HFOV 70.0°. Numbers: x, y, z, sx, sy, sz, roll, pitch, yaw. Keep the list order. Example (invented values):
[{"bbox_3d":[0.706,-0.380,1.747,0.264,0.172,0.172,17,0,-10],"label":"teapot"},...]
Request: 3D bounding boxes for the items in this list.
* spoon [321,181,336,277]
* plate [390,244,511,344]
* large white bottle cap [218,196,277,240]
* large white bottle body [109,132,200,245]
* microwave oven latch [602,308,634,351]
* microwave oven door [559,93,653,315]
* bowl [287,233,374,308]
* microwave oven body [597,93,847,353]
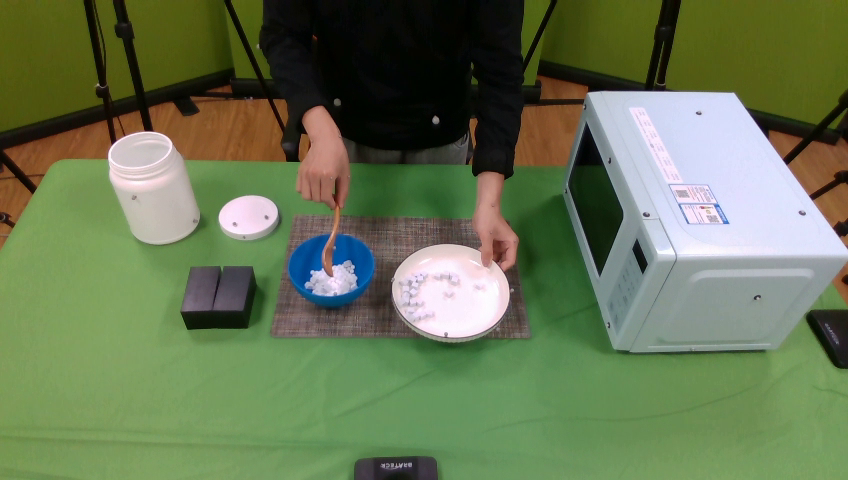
[{"bbox_3d":[-0.166,-0.023,1.064,0.021,0.042,0.192,-13,60,18],"label":"spoon"},{"bbox_3d":[0.044,0.095,1.057,0.209,0.038,0.208,1,48,-1],"label":"plate"},{"bbox_3d":[-0.355,-0.045,1.220,0.115,0.018,0.114,2,45,-1],"label":"large white bottle cap"},{"bbox_3d":[-0.506,-0.097,1.141,0.131,0.185,0.130,2,46,-2],"label":"large white bottle body"},{"bbox_3d":[0.332,0.153,1.044,0.030,0.029,0.078,-1,45,-4],"label":"microwave oven latch"},{"bbox_3d":[0.327,-0.074,1.123,0.039,0.245,0.353,-1,46,-5],"label":"microwave oven door"},{"bbox_3d":[-0.165,0.068,1.078,0.151,0.077,0.150,3,46,-3],"label":"bowl"},{"bbox_3d":[0.475,-0.041,1.109,0.326,0.261,0.438,-1,45,-4],"label":"microwave oven body"}]
